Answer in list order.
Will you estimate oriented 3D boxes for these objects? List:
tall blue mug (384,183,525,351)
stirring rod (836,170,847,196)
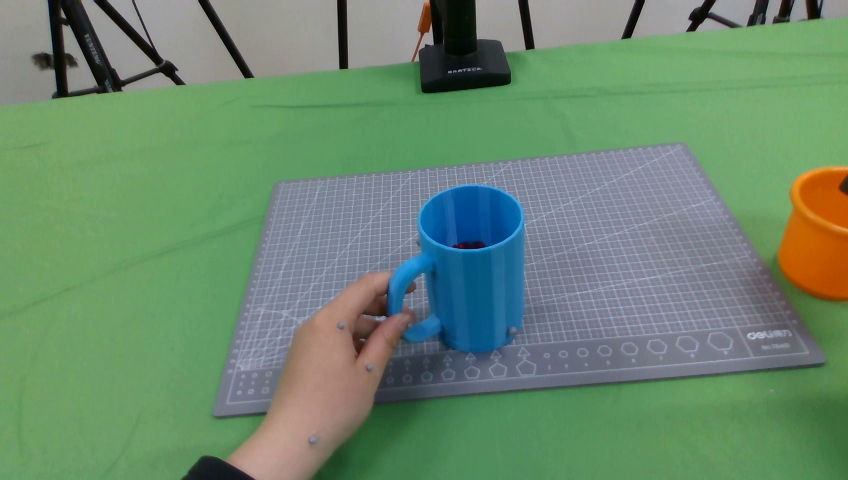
[{"bbox_3d":[0.029,0.031,0.451,0.077,0.109,0.107,17,47,24],"label":"tall blue mug"},{"bbox_3d":[0.300,-0.092,0.358,0.006,0.177,0.014,-31,58,-27],"label":"stirring rod"}]
